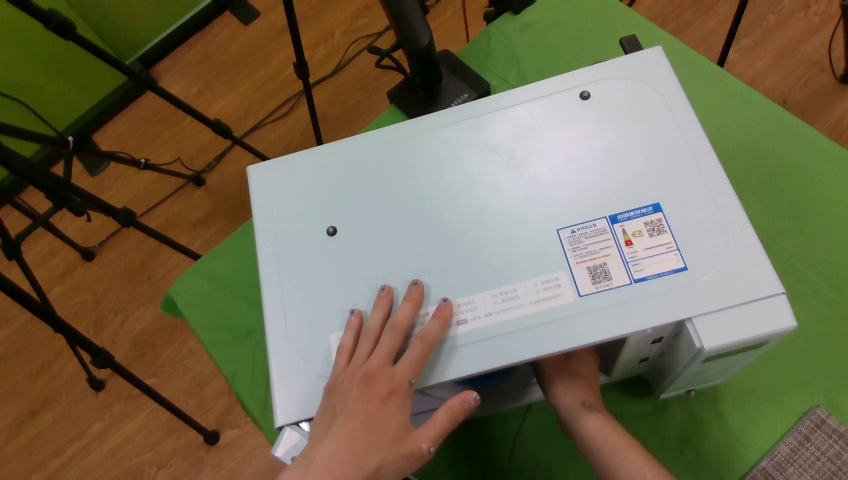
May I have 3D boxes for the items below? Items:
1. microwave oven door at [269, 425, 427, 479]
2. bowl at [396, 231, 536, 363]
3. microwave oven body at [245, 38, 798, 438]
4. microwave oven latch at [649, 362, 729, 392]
[{"bbox_3d":[0.046,0.278,0.555,0.353,0.246,0.039,25,74,19],"label":"microwave oven door"},{"bbox_3d":[0.049,0.074,0.681,0.151,0.077,0.150,-3,63,7],"label":"bowl"},{"bbox_3d":[0.076,0.028,0.664,0.441,0.262,0.323,-16,65,4],"label":"microwave oven body"},{"bbox_3d":[0.296,0.147,0.679,0.079,0.030,0.030,-15,65,5],"label":"microwave oven latch"}]
